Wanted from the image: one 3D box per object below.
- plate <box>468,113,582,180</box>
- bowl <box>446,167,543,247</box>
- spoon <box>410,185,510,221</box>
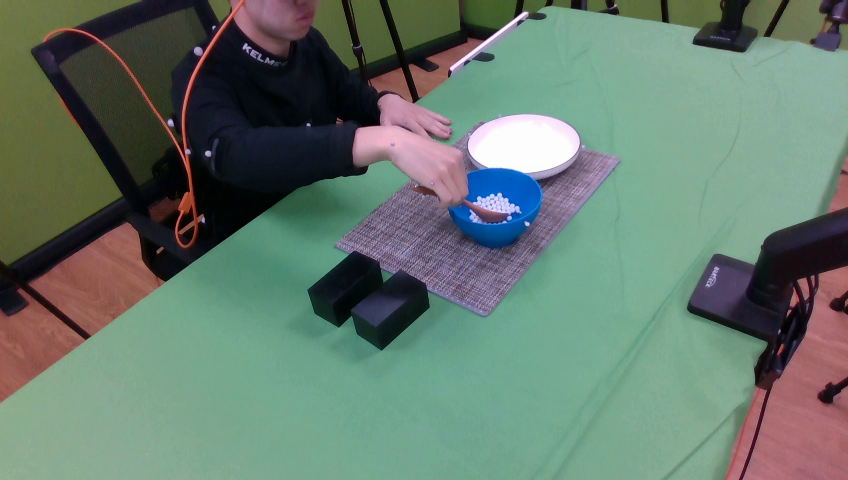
[{"bbox_3d":[0.186,-0.169,1.122,0.207,0.039,0.206,-4,40,4],"label":"plate"},{"bbox_3d":[0.111,-0.042,0.952,0.151,0.077,0.150,-4,40,4],"label":"bowl"},{"bbox_3d":[0.056,-0.056,0.911,0.041,0.195,0.021,-12,66,51],"label":"spoon"}]
